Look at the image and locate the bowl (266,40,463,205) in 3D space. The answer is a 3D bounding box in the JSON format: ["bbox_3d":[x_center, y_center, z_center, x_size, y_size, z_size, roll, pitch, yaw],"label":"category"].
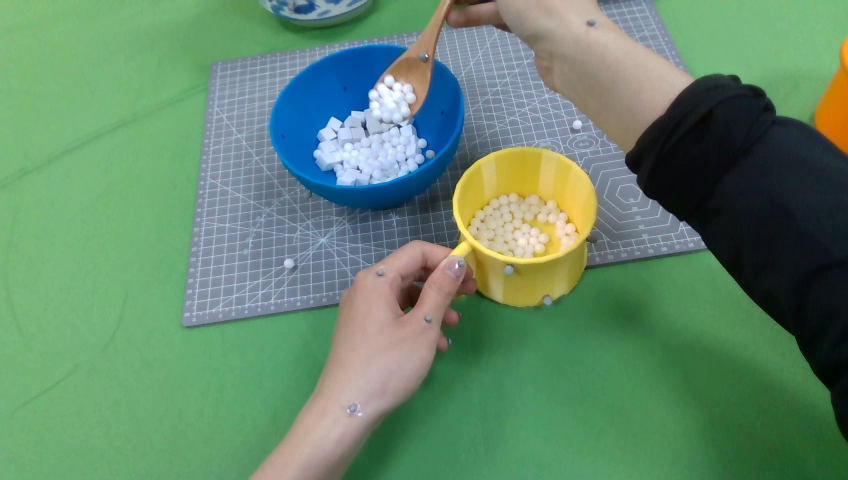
[{"bbox_3d":[-0.042,-0.080,0.489,0.151,0.077,0.150,-3,57,5],"label":"bowl"}]

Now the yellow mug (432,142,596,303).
[{"bbox_3d":[0.058,-0.004,0.437,0.131,0.064,0.099,-36,61,-15],"label":"yellow mug"}]

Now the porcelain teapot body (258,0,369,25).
[{"bbox_3d":[-0.151,-0.331,0.575,0.205,0.227,0.144,-4,58,5],"label":"porcelain teapot body"}]

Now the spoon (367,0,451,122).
[{"bbox_3d":[0.017,-0.171,0.434,0.041,0.022,0.194,38,108,19],"label":"spoon"}]
